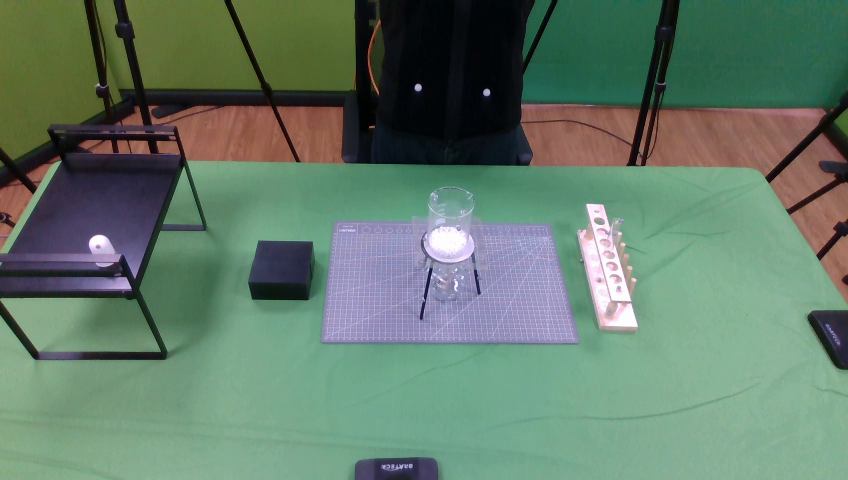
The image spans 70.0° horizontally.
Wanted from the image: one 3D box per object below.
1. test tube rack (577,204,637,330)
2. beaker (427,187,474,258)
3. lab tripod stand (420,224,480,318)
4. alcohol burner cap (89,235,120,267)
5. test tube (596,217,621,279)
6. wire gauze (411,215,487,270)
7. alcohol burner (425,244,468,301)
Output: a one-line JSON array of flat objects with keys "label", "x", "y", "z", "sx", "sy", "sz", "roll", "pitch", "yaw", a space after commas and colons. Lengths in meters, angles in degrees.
[{"label": "test tube rack", "x": 0.348, "y": 0.045, "z": 1.139, "sx": 0.067, "sy": 0.085, "sz": 0.241, "roll": 2, "pitch": 46, "yaw": -2}, {"label": "beaker", "x": 0.043, "y": -0.027, "z": 0.989, "sx": 0.084, "sy": 0.101, "sz": 0.073, "roll": -26, "pitch": 53, "yaw": -26}, {"label": "lab tripod stand", "x": 0.034, "y": 0.052, "z": 1.071, "sx": 0.148, "sy": 0.132, "sz": 0.147, "roll": 3, "pitch": 48, "yaw": -3}, {"label": "alcohol burner cap", "x": -0.469, "y": 0.013, "z": 0.885, "sx": 0.034, "sy": 0.048, "sz": 0.033, "roll": 1, "pitch": 47, "yaw": -1}, {"label": "test tube", "x": 0.331, "y": 0.018, "z": 1.094, "sx": 0.017, "sy": 0.151, "sz": 0.017, "roll": 0, "pitch": 45, "yaw": 0}, {"label": "wire gauze", "x": 0.041, "y": 0.003, "z": 1.026, "sx": 0.125, "sy": 0.011, "sz": 0.120, "roll": 0, "pitch": 46, "yaw": -1}, {"label": "alcohol burner", "x": 0.040, "y": 0.053, "z": 1.083, "sx": 0.078, "sy": 0.120, "sz": 0.077, "roll": 1, "pitch": 47, "yaw": -1}]
